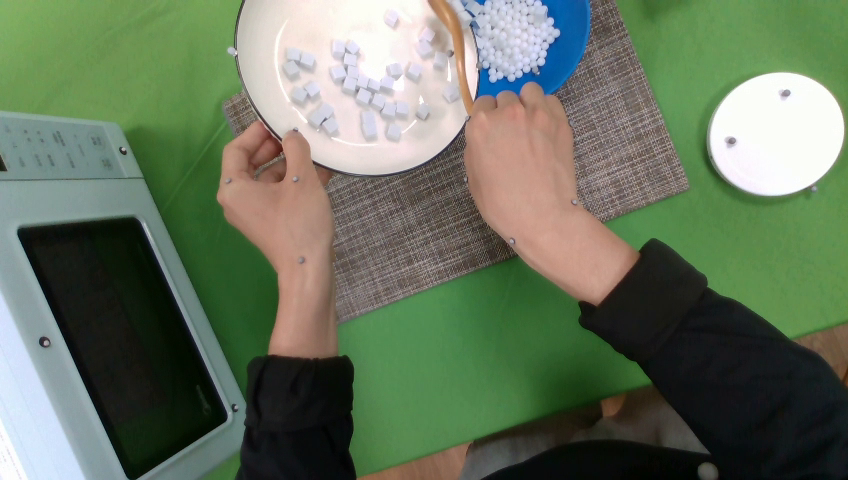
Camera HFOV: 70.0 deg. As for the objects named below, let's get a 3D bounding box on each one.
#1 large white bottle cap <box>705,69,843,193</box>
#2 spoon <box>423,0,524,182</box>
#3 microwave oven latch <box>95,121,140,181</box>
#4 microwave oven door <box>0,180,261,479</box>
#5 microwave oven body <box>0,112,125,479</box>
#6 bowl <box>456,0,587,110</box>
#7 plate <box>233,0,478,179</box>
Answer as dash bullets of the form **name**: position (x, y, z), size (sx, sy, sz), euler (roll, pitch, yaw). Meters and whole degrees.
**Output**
- **large white bottle cap**: position (0.327, -0.101, 0.570), size (0.114, 0.018, 0.115), euler (2, 98, 15)
- **spoon**: position (0.039, -0.129, 0.506), size (0.041, 0.022, 0.192), euler (-38, 61, 39)
- **microwave oven latch**: position (-0.386, -0.107, 0.751), size (0.030, 0.029, 0.079), euler (-24, 91, 17)
- **microwave oven door**: position (-0.325, 0.104, 0.655), size (0.039, 0.244, 0.355), euler (-25, 89, 18)
- **microwave oven body**: position (-0.467, 0.124, 0.705), size (0.326, 0.260, 0.441), euler (-25, 90, 17)
- **bowl**: position (0.084, -0.201, 0.593), size (0.151, 0.077, 0.151), euler (2, 98, 17)
- **plate**: position (-0.056, -0.152, 0.525), size (0.210, 0.038, 0.208), euler (2, 84, -18)
